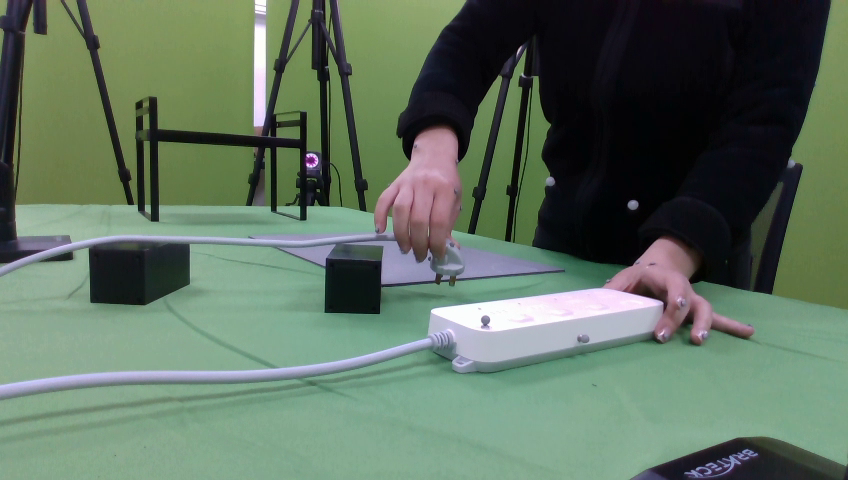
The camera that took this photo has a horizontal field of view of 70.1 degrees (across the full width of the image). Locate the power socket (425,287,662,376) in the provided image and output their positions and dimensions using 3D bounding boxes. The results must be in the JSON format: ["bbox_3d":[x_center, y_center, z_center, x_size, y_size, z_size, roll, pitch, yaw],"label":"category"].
[{"bbox_3d":[0.102,0.066,0.482,0.228,0.032,0.072,-4,9,-35],"label":"power socket"}]

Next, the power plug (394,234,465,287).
[{"bbox_3d":[0.006,0.019,0.618,0.072,0.052,0.035,16,27,17],"label":"power plug"}]
